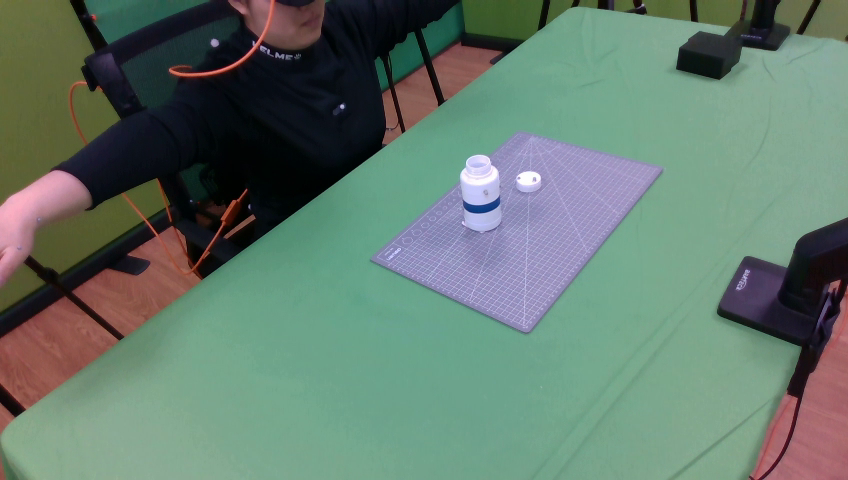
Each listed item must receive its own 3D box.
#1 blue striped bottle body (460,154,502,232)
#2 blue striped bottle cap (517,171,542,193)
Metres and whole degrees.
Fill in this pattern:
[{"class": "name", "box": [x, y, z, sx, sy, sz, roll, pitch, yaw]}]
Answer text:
[{"class": "blue striped bottle body", "box": [0.092, -0.078, 0.976, 0.063, 0.121, 0.063, -6, 40, 5]}, {"class": "blue striped bottle cap", "box": [0.187, -0.103, 1.072, 0.044, 0.021, 0.044, -5, 42, 5]}]
